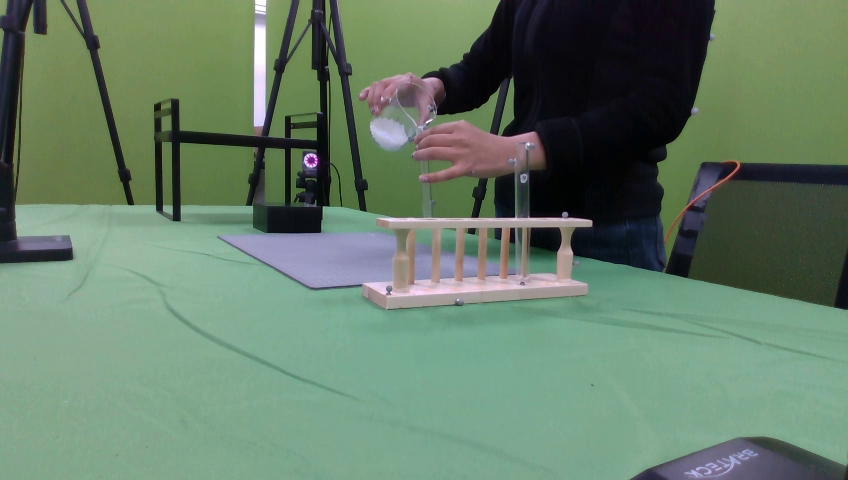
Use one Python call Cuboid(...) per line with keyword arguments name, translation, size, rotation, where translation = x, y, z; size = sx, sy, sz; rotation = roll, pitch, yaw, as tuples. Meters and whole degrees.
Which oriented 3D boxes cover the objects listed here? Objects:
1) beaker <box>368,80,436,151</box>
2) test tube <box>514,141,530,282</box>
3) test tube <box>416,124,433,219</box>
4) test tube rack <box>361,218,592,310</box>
Cuboid(name="beaker", translation=(-0.038, -0.192, 0.964), size=(0.074, 0.083, 0.100), rotation=(2, -23, -35))
Cuboid(name="test tube", translation=(0.103, -0.028, 0.636), size=(0.017, 0.150, 0.017), rotation=(-2, 12, 1))
Cuboid(name="test tube", translation=(0.001, -0.101, 0.900), size=(0.017, 0.150, 0.017), rotation=(-4, -12, -1))
Cuboid(name="test tube rack", translation=(0.060, 0.019, 0.640), size=(0.243, 0.085, 0.066), rotation=(-1, 8, -27))
